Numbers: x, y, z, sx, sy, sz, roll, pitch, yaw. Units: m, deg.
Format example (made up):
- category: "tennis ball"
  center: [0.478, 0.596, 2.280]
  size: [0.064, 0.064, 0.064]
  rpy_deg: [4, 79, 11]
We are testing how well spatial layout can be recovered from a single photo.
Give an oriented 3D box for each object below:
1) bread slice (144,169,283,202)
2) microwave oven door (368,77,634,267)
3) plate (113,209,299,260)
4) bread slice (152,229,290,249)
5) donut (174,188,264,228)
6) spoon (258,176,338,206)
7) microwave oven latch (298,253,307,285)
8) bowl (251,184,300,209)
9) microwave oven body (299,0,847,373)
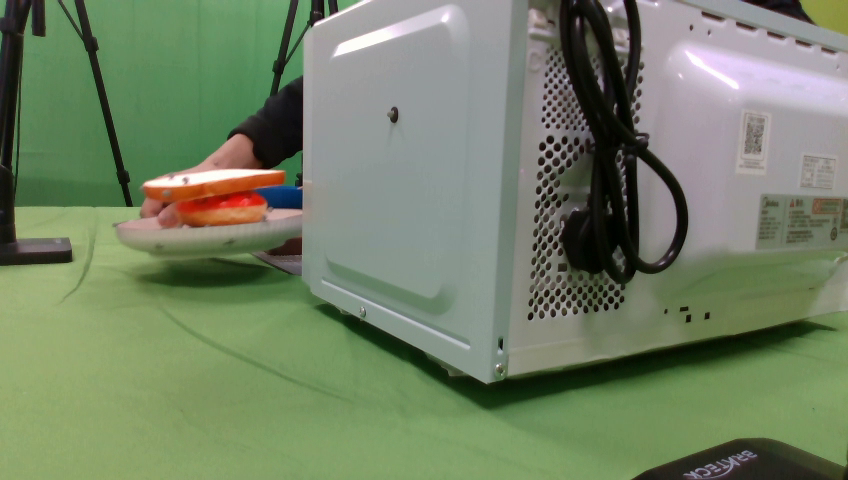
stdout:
- category: "bread slice"
  center: [-0.241, -0.064, 0.686]
  size: [0.106, 0.018, 0.135]
  rpy_deg: [3, 15, 32]
- category: "microwave oven door"
  center: [0.094, -0.099, 0.831]
  size: [0.355, 0.243, 0.039]
  rpy_deg: [5, 7, 18]
- category: "plate"
  center: [-0.239, -0.007, 0.696]
  size: [0.208, 0.039, 0.207]
  rpy_deg: [-3, 8, 1]
- category: "bread slice"
  center: [-0.236, -0.002, 0.689]
  size: [0.104, 0.019, 0.132]
  rpy_deg: [0, 3, 35]
- category: "donut"
  center: [-0.235, -0.036, 0.697]
  size: [0.099, 0.048, 0.099]
  rpy_deg: [-4, 3, 1]
- category: "spoon"
  center: [-0.279, -0.112, 1.356]
  size: [0.194, 0.021, 0.041]
  rpy_deg: [-27, 19, -27]
- category: "microwave oven latch"
  center: [-0.081, 0.027, 0.583]
  size: [0.079, 0.029, 0.030]
  rpy_deg: [-1, 7, -32]
- category: "bowl"
  center: [-0.322, -0.081, 1.334]
  size: [0.151, 0.077, 0.151]
  rpy_deg: [3, 8, 0]
- category: "microwave oven body"
  center: [0.151, -0.055, 0.543]
  size: [0.444, 0.260, 0.324]
  rpy_deg: [-2, 7, -33]
